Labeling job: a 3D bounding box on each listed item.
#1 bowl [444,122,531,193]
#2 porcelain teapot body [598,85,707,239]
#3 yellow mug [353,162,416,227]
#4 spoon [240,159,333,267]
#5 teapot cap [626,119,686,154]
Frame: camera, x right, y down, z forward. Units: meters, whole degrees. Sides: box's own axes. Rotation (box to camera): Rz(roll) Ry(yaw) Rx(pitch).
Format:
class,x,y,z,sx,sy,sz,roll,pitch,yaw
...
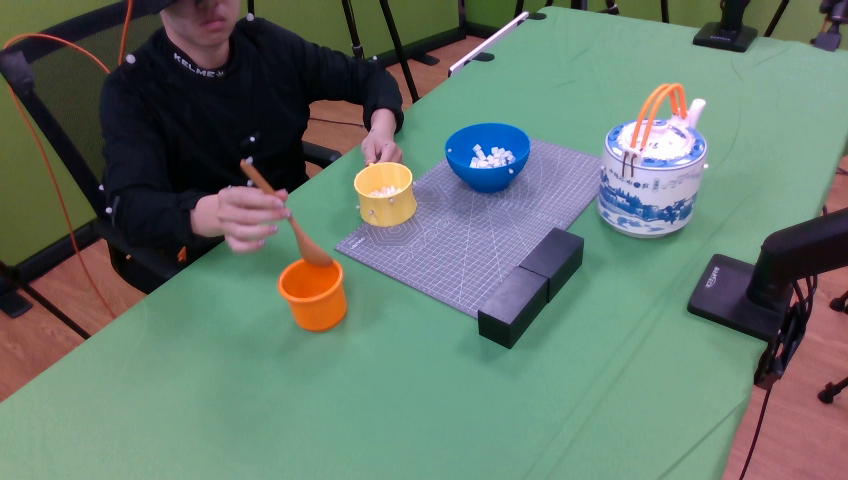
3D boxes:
class,x,y,z,sx,sy,sz,roll,pitch,yaw
bowl,0.113,-0.136,1.063,0.151,0.077,0.150,-4,41,4
porcelain teapot body,0.362,-0.137,0.921,0.144,0.226,0.206,29,51,36
yellow mug,-0.073,-0.087,1.040,0.100,0.064,0.129,-21,44,-15
spoon,-0.179,-0.030,0.788,0.041,0.195,0.021,-11,36,28
teapot cap,0.338,-0.153,0.882,0.085,0.044,0.085,-3,38,3
